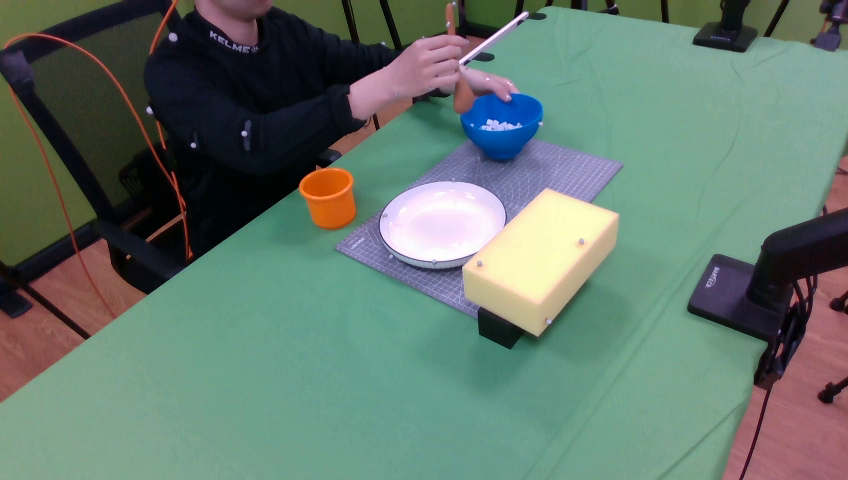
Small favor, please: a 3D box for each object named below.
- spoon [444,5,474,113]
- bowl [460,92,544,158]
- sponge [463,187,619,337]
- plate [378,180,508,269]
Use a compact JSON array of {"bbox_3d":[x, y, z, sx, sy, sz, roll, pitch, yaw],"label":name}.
[{"bbox_3d":[0.053,-0.297,1.012,0.042,0.195,0.021,-22,38,-9],"label":"spoon"},{"bbox_3d":[0.143,-0.202,1.106,0.151,0.077,0.150,-5,38,4],"label":"bowl"},{"bbox_3d":[0.160,0.022,0.814,0.117,0.061,0.207,25,50,32],"label":"sponge"},{"bbox_3d":[0.031,-0.022,0.974,0.209,0.038,0.208,-4,40,4],"label":"plate"}]
